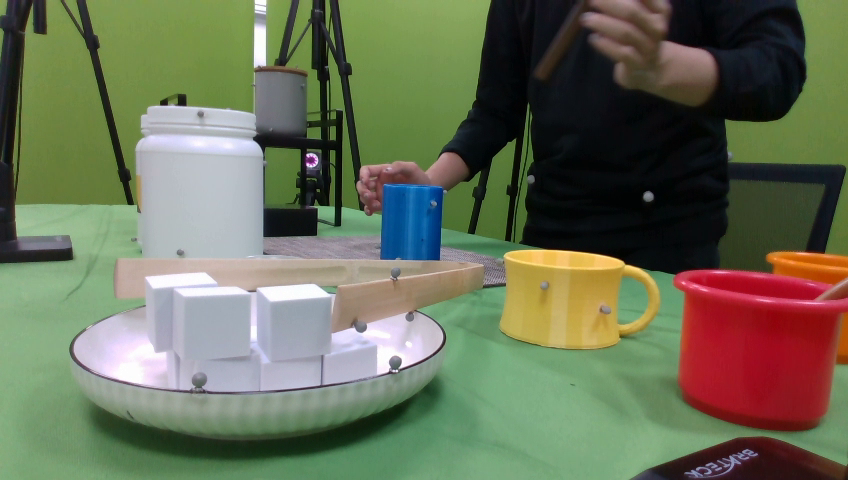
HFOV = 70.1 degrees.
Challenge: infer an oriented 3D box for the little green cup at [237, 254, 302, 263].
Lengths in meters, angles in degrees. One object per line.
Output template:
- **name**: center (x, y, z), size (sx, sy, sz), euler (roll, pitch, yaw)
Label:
- **little green cup**: center (-0.150, 0.037, 0.590), size (0.061, 0.038, 0.061), euler (3, 8, 0)

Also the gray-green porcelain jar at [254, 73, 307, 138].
- **gray-green porcelain jar**: center (-0.298, -0.277, 1.259), size (0.106, 0.126, 0.106), euler (3, 8, 0)

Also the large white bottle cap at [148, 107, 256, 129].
- **large white bottle cap**: center (-0.250, -0.137, 0.686), size (0.115, 0.018, 0.115), euler (3, 8, 0)

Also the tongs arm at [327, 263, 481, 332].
- **tongs arm**: center (-0.003, 0.036, 0.493), size (0.050, 0.026, 0.386), euler (1, 0, 19)

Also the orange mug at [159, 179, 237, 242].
- **orange mug**: center (-0.368, -0.051, 0.991), size (0.127, 0.101, 0.083), euler (-10, 14, -41)

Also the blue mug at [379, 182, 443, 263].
- **blue mug**: center (-0.019, -0.025, 0.833), size (0.082, 0.106, 0.116), euler (1, 7, -7)

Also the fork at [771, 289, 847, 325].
- **fork**: center (0.336, 0.018, 0.443), size (0.028, 0.018, 0.207), euler (-2, -35, -21)

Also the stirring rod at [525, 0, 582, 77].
- **stirring rod**: center (0.154, -0.245, 0.626), size (0.014, 0.176, 0.006), euler (27, 37, -5)

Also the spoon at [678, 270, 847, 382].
- **spoon**: center (0.229, 0.031, 0.338), size (0.193, 0.021, 0.042), euler (-44, -17, 27)

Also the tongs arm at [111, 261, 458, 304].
- **tongs arm**: center (-0.080, 0.032, 0.527), size (0.028, 0.027, 0.389), euler (-3, -3, 33)

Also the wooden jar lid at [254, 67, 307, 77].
- **wooden jar lid**: center (-0.296, -0.339, 1.250), size (0.108, 0.020, 0.108), euler (1, 7, 0)

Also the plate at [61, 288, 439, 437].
- **plate**: center (-0.095, 0.069, 0.362), size (0.208, 0.039, 0.207), euler (3, 7, 0)

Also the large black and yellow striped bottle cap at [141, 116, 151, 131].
- **large black and yellow striped bottle cap**: center (-0.328, -0.158, 0.837), size (0.115, 0.019, 0.115), euler (2, 6, 0)

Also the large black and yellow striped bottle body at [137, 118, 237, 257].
- **large black and yellow striped bottle body**: center (-0.330, -0.075, 0.849), size (0.131, 0.184, 0.130), euler (2, 8, 0)

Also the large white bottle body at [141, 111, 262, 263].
- **large white bottle body**: center (-0.254, -0.054, 0.697), size (0.131, 0.184, 0.130), euler (2, 7, 0)

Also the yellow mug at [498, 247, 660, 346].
- **yellow mug**: center (0.130, 0.045, 0.508), size (0.131, 0.064, 0.100), euler (4, 7, 6)
